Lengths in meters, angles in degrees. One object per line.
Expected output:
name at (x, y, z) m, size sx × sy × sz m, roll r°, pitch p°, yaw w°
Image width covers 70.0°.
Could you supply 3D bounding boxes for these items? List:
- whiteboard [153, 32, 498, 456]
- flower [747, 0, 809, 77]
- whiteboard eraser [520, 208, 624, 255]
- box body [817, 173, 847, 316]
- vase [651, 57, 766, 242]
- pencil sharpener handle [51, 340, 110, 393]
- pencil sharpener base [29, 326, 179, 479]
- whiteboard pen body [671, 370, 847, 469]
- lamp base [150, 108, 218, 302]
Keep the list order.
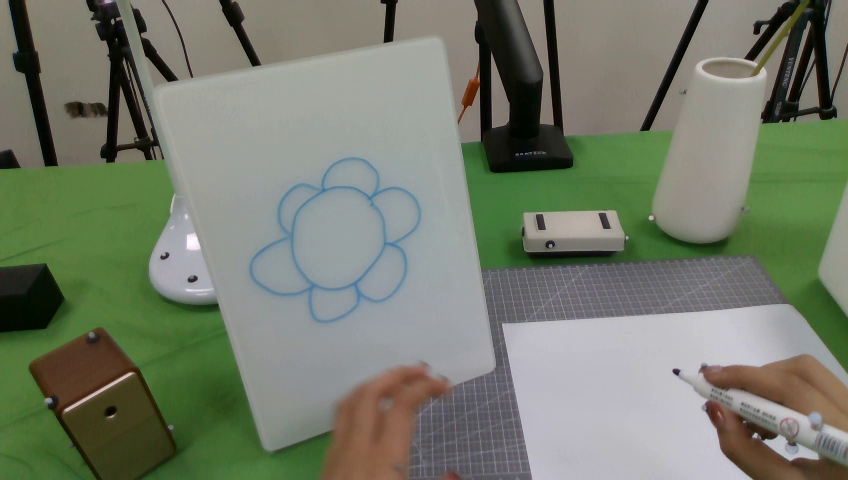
whiteboard at (-0.079, -0.007, 0.548) m, size 0.217 × 0.307 × 0.142 m, roll -16°, pitch 19°, yaw -15°
flower at (0.325, -0.153, 0.615) m, size 0.044 × 0.364 × 0.038 m, roll -17°, pitch 56°, yaw -28°
whiteboard eraser at (0.170, -0.008, 0.703) m, size 0.112 × 0.042 × 0.055 m, roll -3°, pitch 34°, yaw 3°
box body at (0.527, 0.067, 0.470) m, size 0.254 × 0.162 × 0.360 m, roll -3°, pitch 36°, yaw 2°
vase at (0.319, -0.096, 0.676) m, size 0.098 × 0.202 × 0.097 m, roll -1°, pitch 37°, yaw 1°
pencil sharpener handle at (-0.291, 0.104, 0.512) m, size 0.030 × 0.068 × 0.036 m, roll 29°, pitch 56°, yaw 37°
pencil sharpener base at (-0.256, 0.134, 0.489) m, size 0.061 × 0.108 × 0.076 m, roll -33°, pitch 45°, yaw -33°
whiteboard pen body at (0.189, 0.096, 0.332) m, size 0.017 × 0.017 × 0.140 m, roll -19°, pitch 15°, yaw -19°
lamp base at (-0.252, -0.049, 0.675) m, size 0.177 × 0.182 × 0.160 m, roll 23°, pitch 44°, yaw 34°
